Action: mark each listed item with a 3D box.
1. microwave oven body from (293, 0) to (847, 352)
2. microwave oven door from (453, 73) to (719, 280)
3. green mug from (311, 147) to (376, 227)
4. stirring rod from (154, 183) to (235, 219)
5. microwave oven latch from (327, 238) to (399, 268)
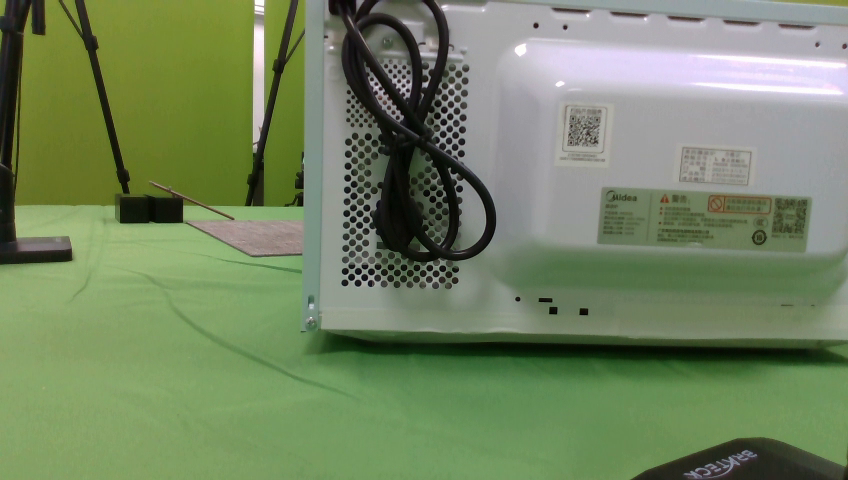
[{"bbox_3d":[0.122,-0.055,0.550,0.442,0.260,0.325,3,7,-5],"label":"microwave oven body"},{"bbox_3d":[0.195,-0.091,0.815,0.354,0.243,0.039,8,8,39],"label":"microwave oven door"},{"bbox_3d":[-0.117,-0.082,0.904,0.093,0.105,0.125,6,13,-7],"label":"green mug"},{"bbox_3d":[-0.472,-0.079,1.252,0.177,0.006,0.014,27,4,-35],"label":"stirring rod"},{"bbox_3d":[-0.069,0.015,0.694,0.079,0.029,0.030,3,7,-3],"label":"microwave oven latch"}]
